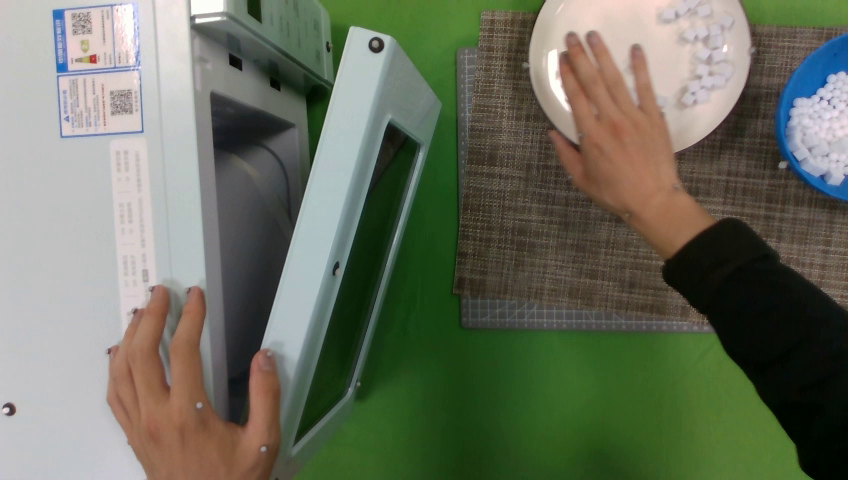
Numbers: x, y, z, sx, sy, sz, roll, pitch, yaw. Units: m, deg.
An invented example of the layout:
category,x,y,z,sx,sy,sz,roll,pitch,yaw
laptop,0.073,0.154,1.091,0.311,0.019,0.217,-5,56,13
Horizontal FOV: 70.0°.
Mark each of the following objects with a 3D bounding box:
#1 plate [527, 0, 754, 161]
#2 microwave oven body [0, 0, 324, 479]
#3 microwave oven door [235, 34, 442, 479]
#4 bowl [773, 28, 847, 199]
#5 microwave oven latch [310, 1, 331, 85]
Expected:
category,x,y,z,sx,sy,sz,roll,pitch,yaw
plate,0.207,-0.180,0.596,0.209,0.038,0.209,0,93,9
microwave oven body,-0.268,-0.018,0.568,0.325,0.260,0.442,-2,93,9
microwave oven door,-0.066,0.026,0.534,0.039,0.244,0.356,17,95,9
bowl,0.388,-0.110,0.552,0.151,0.077,0.151,0,93,9
microwave oven latch,-0.114,-0.204,0.631,0.030,0.029,0.079,-2,94,9
